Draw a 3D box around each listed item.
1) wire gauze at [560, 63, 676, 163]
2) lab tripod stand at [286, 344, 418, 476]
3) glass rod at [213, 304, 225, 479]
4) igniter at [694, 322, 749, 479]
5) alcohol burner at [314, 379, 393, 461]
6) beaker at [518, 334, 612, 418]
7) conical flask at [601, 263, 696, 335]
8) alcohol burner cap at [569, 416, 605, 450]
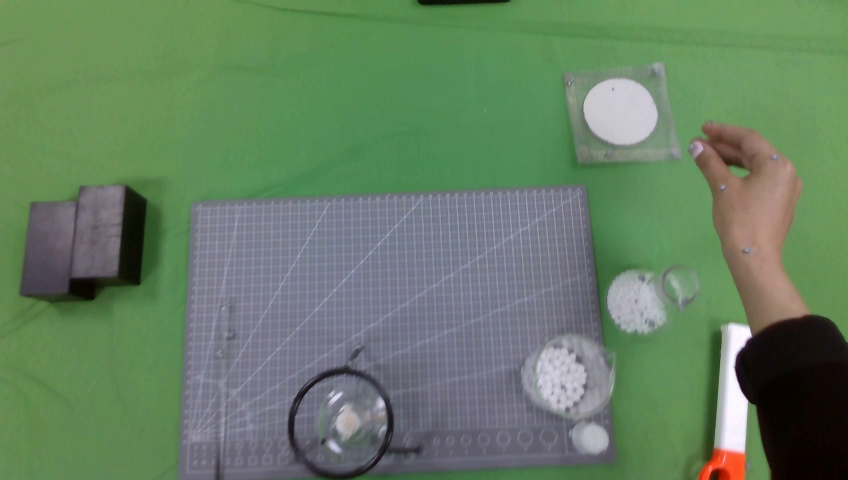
[{"bbox_3d":[0.228,-0.149,0.713,0.125,0.011,0.121,-4,77,-3],"label":"wire gauze"},{"bbox_3d":[-0.073,0.170,0.572,0.148,0.132,0.147,0,79,0],"label":"lab tripod stand"},{"bbox_3d":[-0.215,0.167,0.636,0.008,0.008,0.199,-1,80,-1],"label":"glass rod"},{"bbox_3d":[0.305,0.221,0.618,0.057,0.025,0.275,13,77,-7],"label":"igniter"},{"bbox_3d":[-0.070,0.172,0.581,0.078,0.119,0.077,0,75,2],"label":"alcohol burner"},{"bbox_3d":[0.136,0.132,0.598,0.084,0.100,0.073,-26,78,-6],"label":"beaker"},{"bbox_3d":[0.229,0.053,0.608,0.075,0.122,0.075,0,76,1],"label":"conical flask"},{"bbox_3d":[0.167,0.197,0.613,0.034,0.048,0.033,0,76,1],"label":"alcohol burner cap"}]
